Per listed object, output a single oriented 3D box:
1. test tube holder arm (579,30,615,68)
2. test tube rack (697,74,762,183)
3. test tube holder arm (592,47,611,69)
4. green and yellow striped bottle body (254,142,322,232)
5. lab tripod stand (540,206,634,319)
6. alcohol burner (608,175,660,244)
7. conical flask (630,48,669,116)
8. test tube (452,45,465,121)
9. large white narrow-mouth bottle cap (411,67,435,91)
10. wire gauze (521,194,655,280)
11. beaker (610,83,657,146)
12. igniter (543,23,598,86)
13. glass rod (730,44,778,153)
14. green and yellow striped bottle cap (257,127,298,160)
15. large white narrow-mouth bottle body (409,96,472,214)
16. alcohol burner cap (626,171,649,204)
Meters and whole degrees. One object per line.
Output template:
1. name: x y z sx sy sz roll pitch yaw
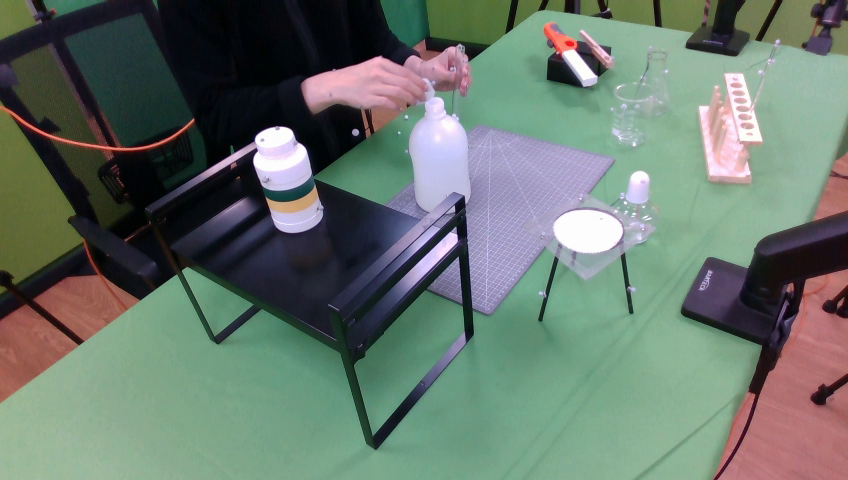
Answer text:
1. test tube holder arm: 0.384 -0.428 1.351 0.013 0.015 0.177 -11 41 -3
2. test tube rack: 0.547 -0.208 1.095 0.066 0.085 0.242 5 42 15
3. test tube holder arm: 0.386 -0.398 1.317 0.010 0.015 0.087 -11 41 -2
4. green and yellow striped bottle body: -0.165 -0.073 0.732 0.063 0.120 0.063 -4 41 4
5. lab tripod stand: 0.217 0.034 0.821 0.148 0.132 0.147 -4 42 4
6. alcohol burner: 0.322 -0.053 0.924 0.078 0.119 0.077 -4 43 4
7. conical flask: 0.457 -0.317 1.205 0.075 0.122 0.075 -4 41 4
8. test tube: 0.058 -0.264 1.042 0.017 0.151 0.017 1 46 -1
9. large white narrow-mouth bottle cap: -0.002 -0.245 0.921 0.038 0.024 0.037 -5 39 4
10. wire gauze: 0.207 -0.012 0.772 0.122 0.011 0.124 -28 44 -20
11. beaker: 0.388 -0.235 1.138 0.074 0.101 0.083 -31 45 -25
12. igniter: 0.320 -0.419 1.345 0.057 0.025 0.274 -12 44 -3
13. glass rod: 0.556 -0.234 1.020 0.008 0.200 0.008 2 40 -1
14. green and yellow striped bottle cap: -0.169 -0.112 0.698 0.045 0.020 0.045 -5 40 4
15. large white narrow-mouth bottle body: 0.026 -0.145 1.007 0.102 0.195 0.101 -5 40 4
16. alcohol burner cap: 0.320 -0.081 0.900 0.034 0.048 0.033 -4 42 4
